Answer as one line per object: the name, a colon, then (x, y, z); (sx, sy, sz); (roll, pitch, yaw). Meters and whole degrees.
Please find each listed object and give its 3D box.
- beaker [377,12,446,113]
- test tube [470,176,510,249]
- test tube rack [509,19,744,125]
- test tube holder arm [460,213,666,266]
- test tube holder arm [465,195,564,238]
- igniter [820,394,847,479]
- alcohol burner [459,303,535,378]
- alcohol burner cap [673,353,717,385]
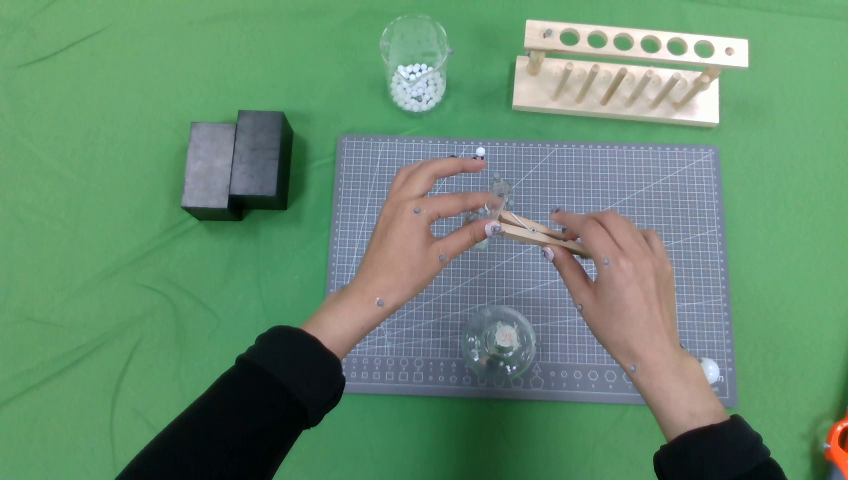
beaker: (-0.013, -0.195, 0.691); (0.074, 0.100, 0.083); (5, 77, 2)
test tube: (0.055, -0.019, 0.528); (0.017, 0.151, 0.017); (1, 72, -2)
test tube rack: (0.226, -0.191, 0.696); (0.242, 0.085, 0.066); (5, 77, 2)
test tube holder arm: (0.120, 0.000, 0.523); (0.178, 0.015, 0.013); (13, 72, -1)
test tube holder arm: (0.078, -0.017, 0.525); (0.088, 0.015, 0.010); (22, 71, 2)
igniter: (0.454, 0.187, 0.634); (0.057, 0.025, 0.275); (25, 78, -4)
alcohol burner: (0.076, 0.099, 0.610); (0.078, 0.119, 0.077); (0, 75, -1)
alcohol burner cap: (0.287, 0.135, 0.637); (0.034, 0.048, 0.033); (0, 75, 0)
